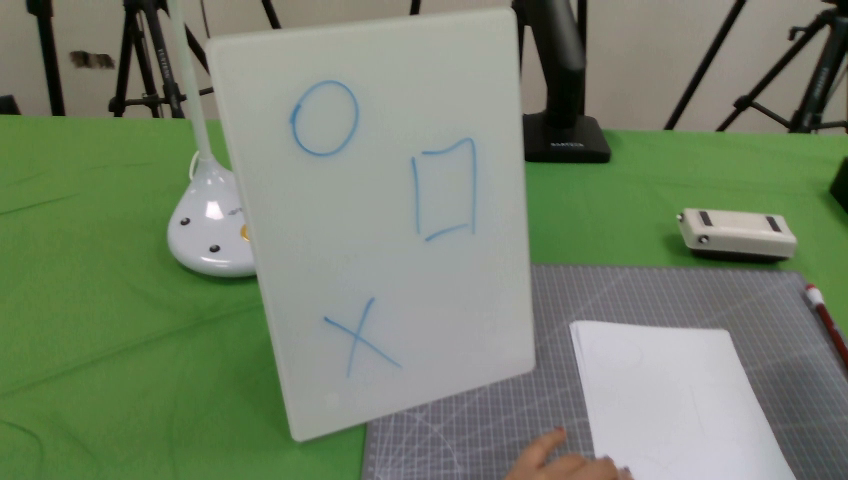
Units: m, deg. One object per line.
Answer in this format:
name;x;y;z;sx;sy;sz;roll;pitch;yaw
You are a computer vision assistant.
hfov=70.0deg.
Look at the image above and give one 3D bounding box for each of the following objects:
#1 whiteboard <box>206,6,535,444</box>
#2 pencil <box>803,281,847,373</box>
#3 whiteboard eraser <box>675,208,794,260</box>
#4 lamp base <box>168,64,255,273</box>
whiteboard;-0.039;-0.023;0.516;0.218;0.307;0.142;-12;21;-16
pencil;0.386;0.106;0.557;0.012;0.012;0.192;5;41;5
whiteboard eraser;0.345;-0.006;0.678;0.112;0.042;0.055;5;39;4
lamp base;-0.210;-0.082;0.638;0.177;0.182;0.160;28;45;33
